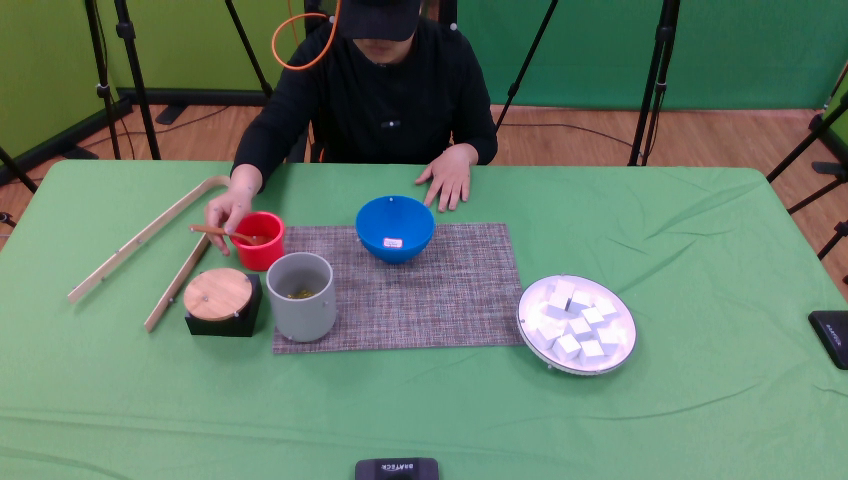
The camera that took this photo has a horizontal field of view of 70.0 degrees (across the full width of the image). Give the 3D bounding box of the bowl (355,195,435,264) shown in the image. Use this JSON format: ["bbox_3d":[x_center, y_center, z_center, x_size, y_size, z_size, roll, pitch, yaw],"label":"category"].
[{"bbox_3d":[-0.056,-0.008,1.158,0.151,0.077,0.150,2,46,-2],"label":"bowl"}]

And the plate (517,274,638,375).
[{"bbox_3d":[0.264,0.149,1.060,0.209,0.038,0.208,3,46,-3],"label":"plate"}]

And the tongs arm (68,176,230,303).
[{"bbox_3d":[-0.510,-0.011,1.162,0.050,0.026,0.383,20,47,14],"label":"tongs arm"}]

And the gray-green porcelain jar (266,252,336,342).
[{"bbox_3d":[-0.202,0.100,1.009,0.106,0.127,0.105,2,46,-2],"label":"gray-green porcelain jar"}]

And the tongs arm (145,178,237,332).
[{"bbox_3d":[-0.432,0.014,1.149,0.028,0.028,0.385,8,46,7],"label":"tongs arm"}]

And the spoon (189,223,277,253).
[{"bbox_3d":[-0.340,-0.008,1.091,0.021,0.195,0.041,-34,63,19],"label":"spoon"}]

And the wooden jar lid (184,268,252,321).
[{"bbox_3d":[-0.343,0.092,1.015,0.108,0.021,0.107,3,46,-3],"label":"wooden jar lid"}]
